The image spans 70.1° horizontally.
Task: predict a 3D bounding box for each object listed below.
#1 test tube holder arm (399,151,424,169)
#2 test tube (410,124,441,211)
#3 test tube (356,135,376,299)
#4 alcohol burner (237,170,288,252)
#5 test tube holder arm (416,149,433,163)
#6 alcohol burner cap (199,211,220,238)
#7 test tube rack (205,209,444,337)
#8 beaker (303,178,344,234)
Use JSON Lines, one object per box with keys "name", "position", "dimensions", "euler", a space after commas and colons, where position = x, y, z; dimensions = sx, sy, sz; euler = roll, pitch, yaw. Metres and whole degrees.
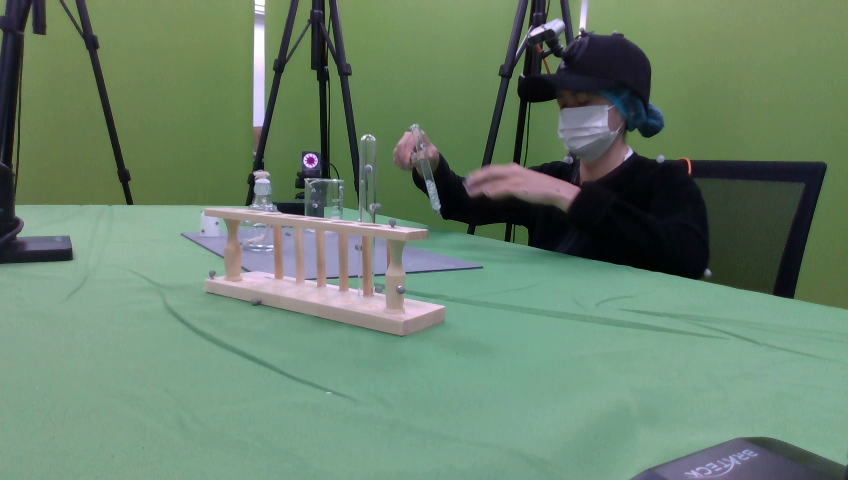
{"name": "test tube holder arm", "position": [-0.024, -0.142, 1.079], "dimensions": [0.013, 0.015, 0.178], "euler": [-10, 3, -14]}
{"name": "test tube", "position": [0.003, -0.121, 1.015], "dimensions": [0.017, 0.150, 0.017], "euler": [-15, 3, 1]}
{"name": "test tube", "position": [-0.053, -0.019, 0.550], "dimensions": [0.017, 0.150, 0.017], "euler": [2, 9, 0]}
{"name": "alcohol burner", "position": [-0.236, -0.042, 0.882], "dimensions": [0.078, 0.119, 0.078], "euler": [2, 9, 0]}
{"name": "test tube holder arm", "position": [-0.006, -0.142, 1.037], "dimensions": [0.010, 0.015, 0.087], "euler": [-11, 3, -21]}
{"name": "alcohol burner cap", "position": [-0.356, -0.027, 1.002], "dimensions": [0.034, 0.048, 0.034], "euler": [2, 7, 0]}
{"name": "test tube rack", "position": [-0.100, 0.021, 0.565], "dimensions": [0.241, 0.085, 0.067], "euler": [7, 9, 32]}
{"name": "beaker", "position": [-0.189, -0.063, 1.119], "dimensions": [0.073, 0.100, 0.084], "euler": [6, 9, 28]}
